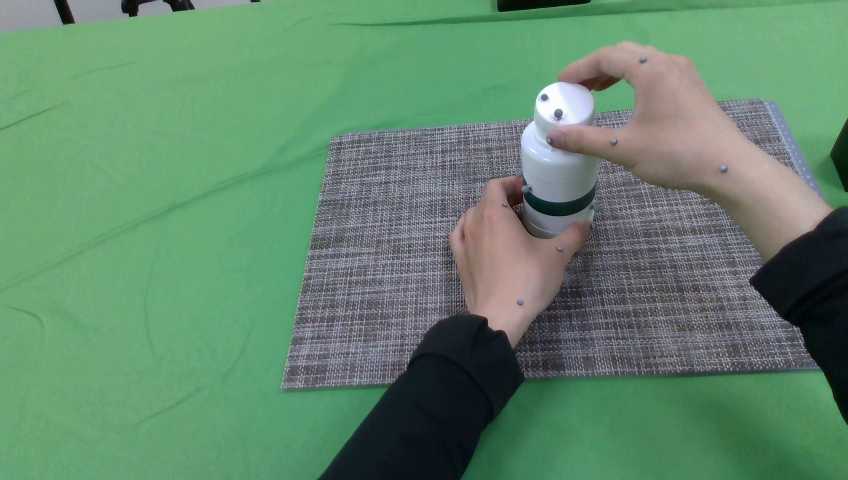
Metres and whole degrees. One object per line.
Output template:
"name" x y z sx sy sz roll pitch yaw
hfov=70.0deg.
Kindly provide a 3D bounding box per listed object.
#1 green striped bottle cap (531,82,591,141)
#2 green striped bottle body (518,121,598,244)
"green striped bottle cap" 0.103 -0.097 0.453 0.044 0.020 0.044 -4 60 7
"green striped bottle body" 0.110 -0.057 0.504 0.063 0.120 0.062 -5 49 6
